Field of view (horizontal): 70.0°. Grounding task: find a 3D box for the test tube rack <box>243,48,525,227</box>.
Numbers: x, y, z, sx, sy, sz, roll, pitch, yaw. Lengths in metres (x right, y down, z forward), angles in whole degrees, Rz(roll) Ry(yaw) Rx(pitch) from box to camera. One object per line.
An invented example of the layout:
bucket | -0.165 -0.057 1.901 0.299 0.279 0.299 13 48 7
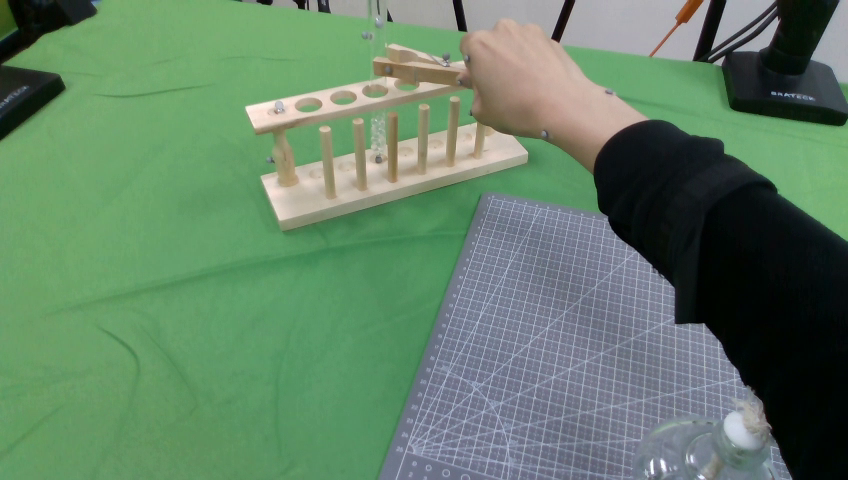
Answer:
test tube rack | -0.025 -0.095 0.540 0.243 0.086 0.066 -17 49 -18

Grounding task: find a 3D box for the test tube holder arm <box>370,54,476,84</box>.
test tube holder arm | 0.000 -0.136 0.482 0.087 0.015 0.010 10 48 14

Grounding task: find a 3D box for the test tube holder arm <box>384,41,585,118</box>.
test tube holder arm | 0.041 -0.127 0.469 0.177 0.015 0.013 23 53 25

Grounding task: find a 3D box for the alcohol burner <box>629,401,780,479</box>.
alcohol burner | 0.151 0.116 0.315 0.078 0.120 0.077 0 47 1

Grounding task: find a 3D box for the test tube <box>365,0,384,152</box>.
test tube | -0.042 -0.138 0.513 0.017 0.151 0.017 3 43 -2
